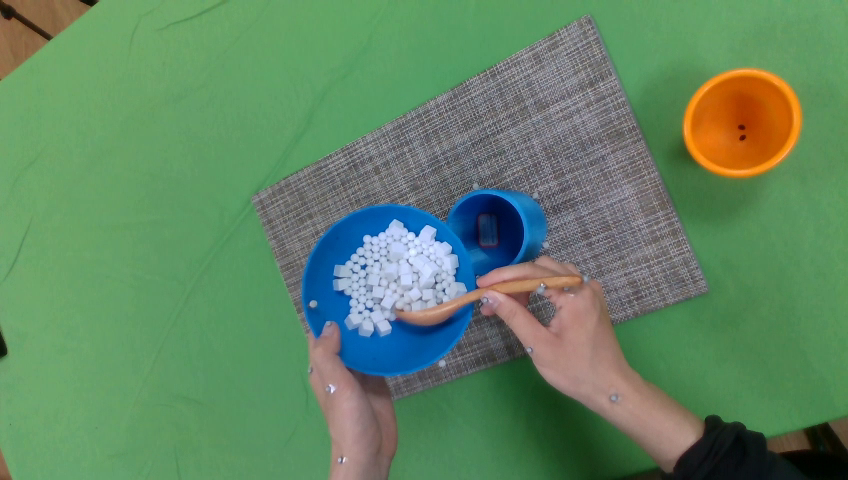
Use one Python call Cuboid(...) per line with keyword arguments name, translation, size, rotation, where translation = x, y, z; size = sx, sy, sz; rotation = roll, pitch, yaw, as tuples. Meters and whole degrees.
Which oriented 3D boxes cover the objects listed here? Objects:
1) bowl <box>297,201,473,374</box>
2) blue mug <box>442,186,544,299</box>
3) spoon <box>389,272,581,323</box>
Cuboid(name="bowl", translation=(-0.033, 0.047, 0.551), size=(0.151, 0.077, 0.150), rotation=(1, 77, -2))
Cuboid(name="blue mug", translation=(0.068, 0.004, 0.610), size=(0.082, 0.106, 0.117), rotation=(17, 100, 18))
Cuboid(name="spoon", translation=(0.041, 0.045, 0.491), size=(0.193, 0.042, 0.021), rotation=(-22, 61, 42))
